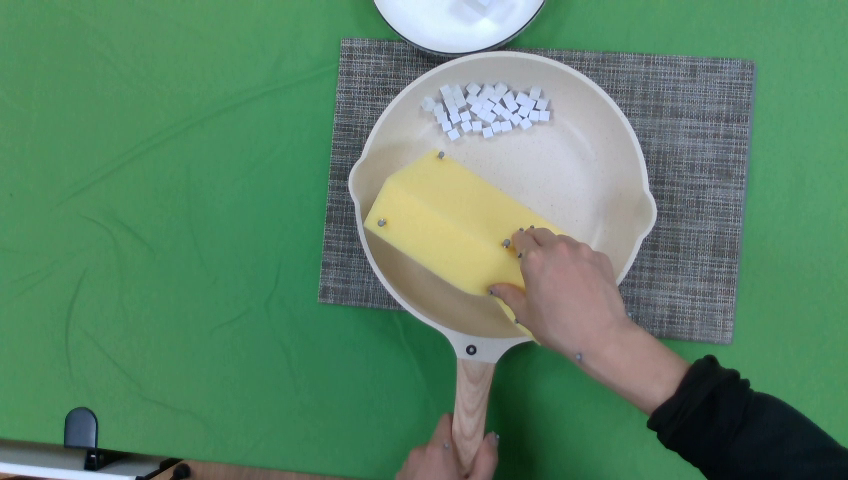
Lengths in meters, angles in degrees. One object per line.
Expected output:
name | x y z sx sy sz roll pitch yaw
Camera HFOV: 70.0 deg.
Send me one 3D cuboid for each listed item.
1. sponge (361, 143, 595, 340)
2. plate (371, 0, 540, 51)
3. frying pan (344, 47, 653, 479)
sponge | 0.058 -0.005 0.601 0.206 0.118 0.061 32 122 5
plate | 0.036 -0.306 0.660 0.207 0.039 0.207 0 89 6
frying pan | 0.058 0.055 0.616 0.306 0.103 0.486 8 82 7
